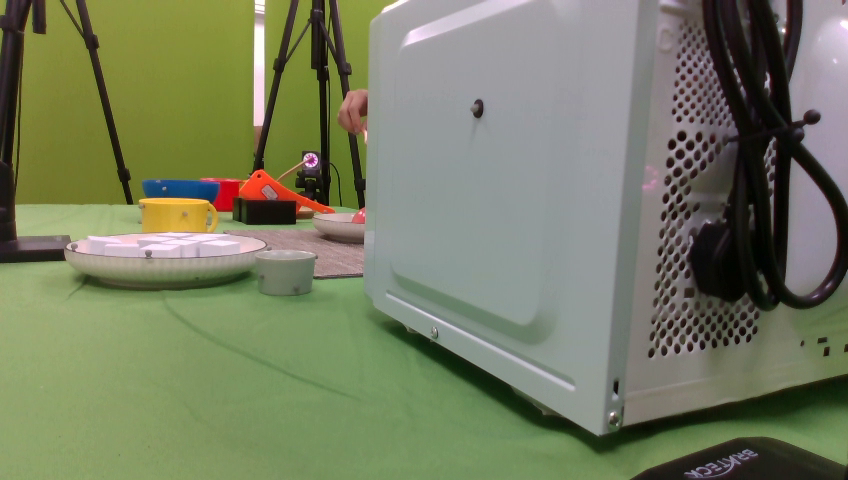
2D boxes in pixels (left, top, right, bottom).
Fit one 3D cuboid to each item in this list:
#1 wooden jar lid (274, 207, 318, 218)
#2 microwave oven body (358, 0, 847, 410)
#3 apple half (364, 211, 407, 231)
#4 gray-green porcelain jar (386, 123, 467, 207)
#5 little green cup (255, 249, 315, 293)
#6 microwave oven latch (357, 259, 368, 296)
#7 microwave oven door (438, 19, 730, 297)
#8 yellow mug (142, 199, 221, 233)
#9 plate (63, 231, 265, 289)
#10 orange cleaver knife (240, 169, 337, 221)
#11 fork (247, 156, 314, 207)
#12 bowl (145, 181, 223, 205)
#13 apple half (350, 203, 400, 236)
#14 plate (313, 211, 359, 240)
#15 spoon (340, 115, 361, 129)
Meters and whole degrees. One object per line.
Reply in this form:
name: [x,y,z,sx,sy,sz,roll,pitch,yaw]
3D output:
wooden jar lid: [-0.303,-0.065,1.409,0.108,0.020,0.108,3,9,0]
microwave oven body: [0.210,-0.051,0.471,0.444,0.260,0.324,-1,7,-28]
apple half: [-0.068,-0.037,1.103,0.081,0.033,0.081,-1,9,1]
gray-green porcelain jar: [0.010,-0.132,1.107,0.106,0.126,0.106,-35,12,9]
little green cup: [-0.144,0.031,0.627,0.061,0.038,0.061,2,6,0]
microwave oven latch: [-0.019,0.031,0.528,0.079,0.029,0.030,-1,7,-25]
microwave oven door: [0.181,-0.076,0.618,0.358,0.243,0.039,-2,8,-28]
yellow mug: [-0.372,-0.030,0.948,0.099,0.064,0.131,6,7,30]
plate: [-0.288,0.021,0.687,0.208,0.039,0.207,2,8,0]
orange cleaver knife: [-0.287,-0.081,1.298,0.212,0.077,0.012,25,-3,-31]
fork: [-0.360,-0.147,1.523,0.207,0.018,0.028,-43,16,-7]
bowl: [-0.499,-0.081,1.261,0.151,0.077,0.151,2,8,0]
apple half: [-0.081,-0.036,1.023,0.081,0.053,0.074,-2,10,-34]
plate: [-0.090,-0.026,1.063,0.209,0.038,0.209,2,7,0]
spoon: [-0.120,-0.213,1.149,0.042,0.021,0.193,-6,31,-27]
